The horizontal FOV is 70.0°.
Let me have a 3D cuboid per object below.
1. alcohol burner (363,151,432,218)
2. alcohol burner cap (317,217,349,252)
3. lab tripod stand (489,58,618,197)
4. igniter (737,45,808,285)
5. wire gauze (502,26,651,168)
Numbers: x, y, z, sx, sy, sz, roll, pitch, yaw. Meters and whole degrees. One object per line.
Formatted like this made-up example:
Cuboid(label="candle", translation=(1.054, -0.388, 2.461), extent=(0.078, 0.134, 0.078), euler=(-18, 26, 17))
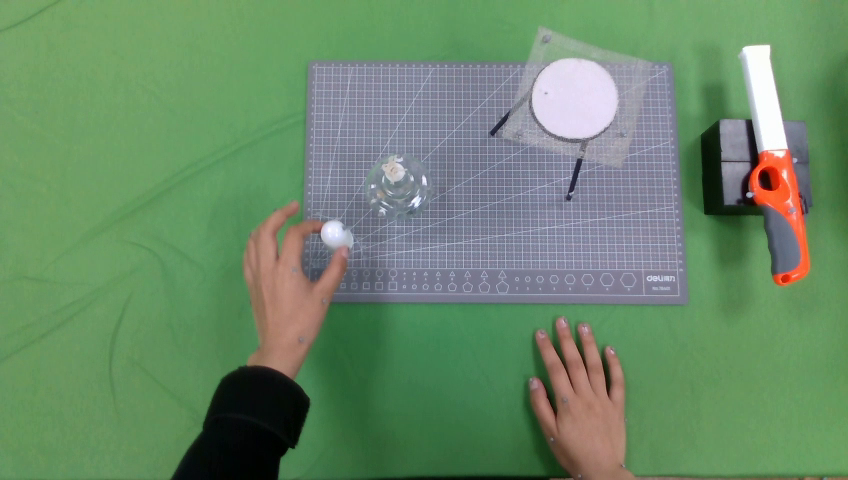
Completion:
Cuboid(label="alcohol burner", translation=(-0.030, -0.065, 0.667), extent=(0.078, 0.119, 0.077), euler=(0, 82, 1))
Cuboid(label="alcohol burner cap", translation=(-0.099, -0.009, 0.649), extent=(0.034, 0.048, 0.033), euler=(1, 72, -3))
Cuboid(label="lab tripod stand", translation=(0.151, -0.133, 0.669), extent=(0.148, 0.132, 0.147), euler=(0, 79, 0))
Cuboid(label="igniter", translation=(0.385, -0.087, 0.672), extent=(0.057, 0.025, 0.275), euler=(-3, 78, 2))
Cuboid(label="wire gauze", translation=(0.154, -0.143, 0.603), extent=(0.121, 0.011, 0.124), euler=(19, 80, 3))
